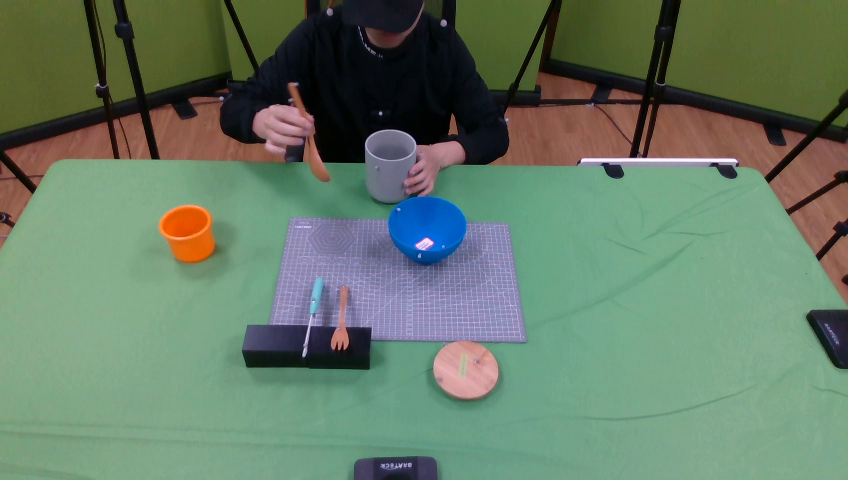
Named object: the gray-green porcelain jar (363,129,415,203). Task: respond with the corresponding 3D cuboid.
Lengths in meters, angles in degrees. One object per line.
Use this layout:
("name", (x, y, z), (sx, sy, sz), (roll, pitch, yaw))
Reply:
("gray-green porcelain jar", (-0.073, -0.149, 1.264), (0.106, 0.127, 0.105), (2, 46, -2))

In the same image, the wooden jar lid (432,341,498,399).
("wooden jar lid", (0.067, 0.216, 0.997), (0.108, 0.021, 0.107), (1, 46, -1))

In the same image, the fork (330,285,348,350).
("fork", (-0.140, 0.127, 1.021), (0.028, 0.019, 0.206), (-5, 28, -3))

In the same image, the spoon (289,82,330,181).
("spoon", (-0.207, -0.189, 1.083), (0.041, 0.194, 0.021), (10, 36, 33))

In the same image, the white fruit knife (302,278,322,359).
("white fruit knife", (-0.189, 0.126, 1.020), (0.016, 0.027, 0.206), (0, 33, -2))

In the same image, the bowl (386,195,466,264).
("bowl", (0.003, -0.007, 1.162), (0.151, 0.077, 0.150), (2, 46, -2))
